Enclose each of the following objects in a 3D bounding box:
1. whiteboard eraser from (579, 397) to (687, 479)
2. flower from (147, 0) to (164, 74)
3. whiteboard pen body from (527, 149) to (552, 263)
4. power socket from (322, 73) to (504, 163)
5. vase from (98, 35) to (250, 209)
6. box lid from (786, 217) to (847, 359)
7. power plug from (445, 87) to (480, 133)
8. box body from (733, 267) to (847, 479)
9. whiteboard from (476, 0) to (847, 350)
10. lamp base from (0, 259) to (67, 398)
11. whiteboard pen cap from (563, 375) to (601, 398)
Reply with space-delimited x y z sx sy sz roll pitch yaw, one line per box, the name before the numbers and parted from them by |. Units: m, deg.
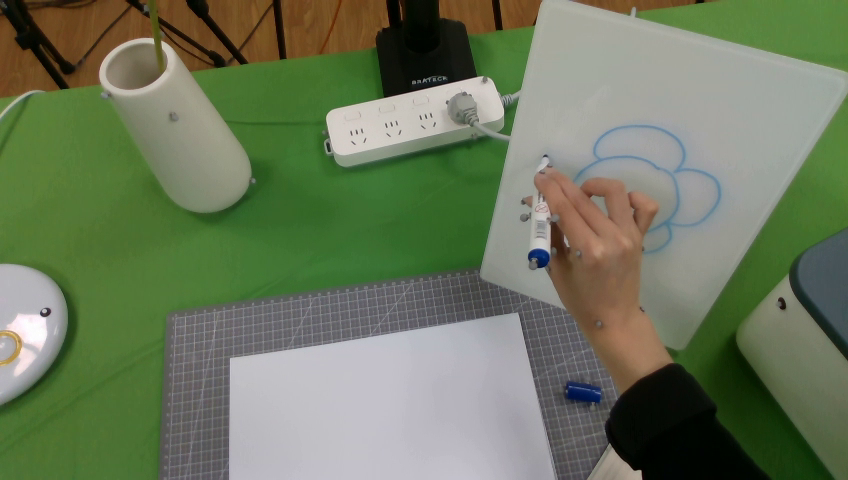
whiteboard eraser | 0.182 0.200 0.540 0.055 0.042 0.112 34 70 18
flower | -0.236 -0.147 0.552 0.038 0.363 0.044 40 62 1
whiteboard pen body | 0.091 -0.033 0.466 0.017 0.017 0.139 8 42 7
power socket | -0.012 -0.147 0.727 0.227 0.033 0.071 -13 65 -5
vase | -0.254 -0.115 0.628 0.098 0.201 0.097 -1 63 3
box lid | 0.472 0.105 0.426 0.263 0.015 0.368 -25 66 -9
power plug | 0.043 -0.143 0.698 0.035 0.053 0.072 -4 70 0
box body | 0.476 0.140 0.493 0.254 0.161 0.360 -25 65 -10
whiteboard | 0.195 -0.075 0.566 0.216 0.308 0.143 20 45 13
lamp base | -0.469 0.053 0.564 0.178 0.182 0.160 22 66 16
whiteboard pen cap | 0.152 0.142 0.584 0.033 0.018 0.018 10 64 4
